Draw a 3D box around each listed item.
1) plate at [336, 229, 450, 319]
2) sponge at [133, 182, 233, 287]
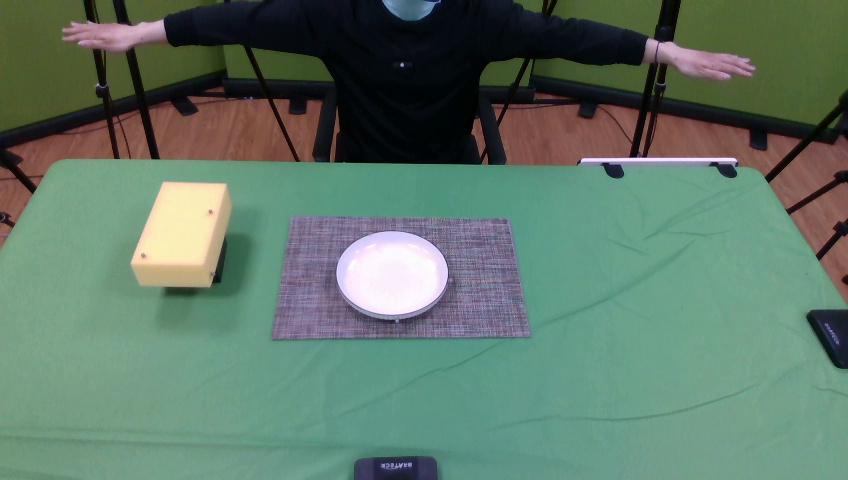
[{"bbox_3d":[-0.056,0.065,1.113,0.208,0.039,0.206,2,46,-2],"label":"plate"},{"bbox_3d":[-0.424,-0.013,1.084,0.118,0.061,0.205,0,46,-3],"label":"sponge"}]
